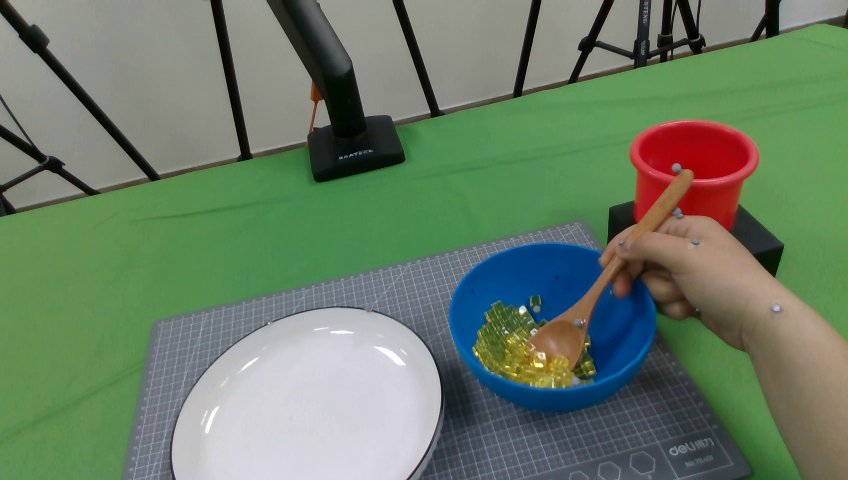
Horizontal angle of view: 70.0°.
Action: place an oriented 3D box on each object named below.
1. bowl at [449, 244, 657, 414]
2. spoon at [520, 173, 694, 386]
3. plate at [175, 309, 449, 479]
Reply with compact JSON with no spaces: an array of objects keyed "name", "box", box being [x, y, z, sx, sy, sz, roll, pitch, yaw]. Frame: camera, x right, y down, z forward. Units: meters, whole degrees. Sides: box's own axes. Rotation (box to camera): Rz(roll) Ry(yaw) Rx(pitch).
[{"name":"bowl","box":[0.098,0.081,0.470,0.151,0.077,0.150,-6,39,5]},{"name":"spoon","box":[0.138,0.030,0.449,0.041,0.022,0.194,42,101,39]},{"name":"plate","box":[-0.082,0.140,0.470,0.207,0.039,0.205,-6,39,5]}]
